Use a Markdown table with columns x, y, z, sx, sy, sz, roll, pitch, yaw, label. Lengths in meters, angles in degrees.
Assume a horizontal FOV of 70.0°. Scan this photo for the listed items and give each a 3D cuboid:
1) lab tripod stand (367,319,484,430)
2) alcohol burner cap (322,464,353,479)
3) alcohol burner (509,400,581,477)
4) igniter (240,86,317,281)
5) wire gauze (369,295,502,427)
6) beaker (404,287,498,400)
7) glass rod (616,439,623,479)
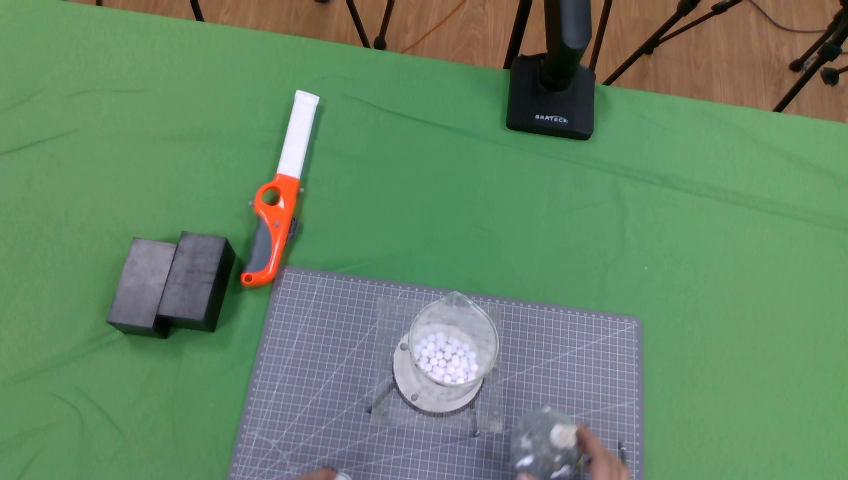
| x | y | z | sx | sy | sz | roll | pitch | yaw | label |
| --- | --- | --- | --- | --- | --- | --- | --- | --- | --- |
| 0.007 | 0.139 | 0.635 | 0.148 | 0.132 | 0.147 | 1 | 66 | -3 | lab tripod stand |
| -0.091 | 0.251 | 0.631 | 0.034 | 0.048 | 0.033 | 1 | 70 | -4 | alcohol burner cap |
| 0.129 | 0.202 | 0.627 | 0.078 | 0.120 | 0.077 | 3 | 62 | -4 | alcohol burner |
| -0.179 | -0.075 | 0.764 | 0.057 | 0.025 | 0.274 | 15 | 67 | -15 | igniter |
| 0.012 | 0.111 | 0.576 | 0.125 | 0.011 | 0.120 | 4 | 66 | -2 | wire gauze |
| 0.019 | 0.095 | 0.531 | 0.074 | 0.101 | 0.083 | 5 | 66 | -2 | beaker |
| 0.211 | 0.317 | 0.650 | 0.008 | 0.008 | 0.198 | 8 | 67 | -2 | glass rod |
